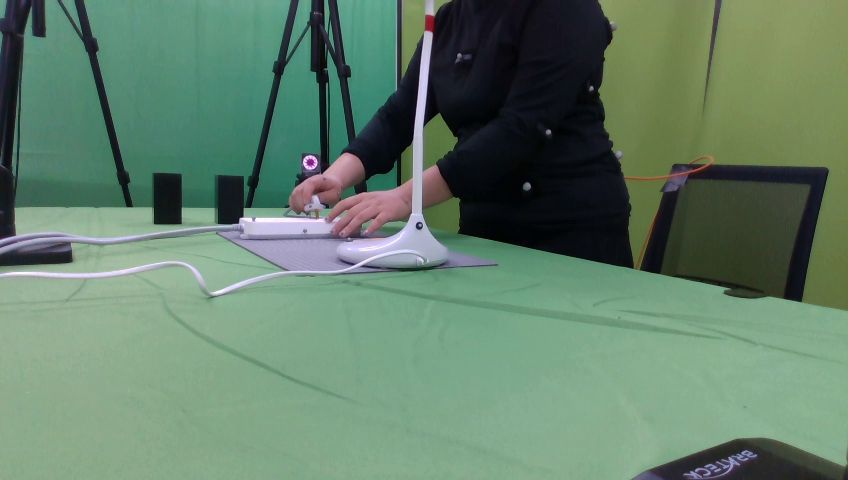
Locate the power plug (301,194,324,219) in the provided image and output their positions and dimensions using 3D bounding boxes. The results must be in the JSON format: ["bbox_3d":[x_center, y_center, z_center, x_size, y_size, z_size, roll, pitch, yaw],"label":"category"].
[{"bbox_3d":[-0.207,-0.059,1.125,0.035,0.052,0.072,-1,-5,-16],"label":"power plug"}]

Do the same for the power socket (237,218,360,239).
[{"bbox_3d":[-0.220,-0.023,1.080,0.228,0.032,0.072,-2,7,-32],"label":"power socket"}]

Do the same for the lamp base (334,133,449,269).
[{"bbox_3d":[-0.034,-0.057,0.831,0.161,0.180,0.178,-3,12,-36],"label":"lamp base"}]
